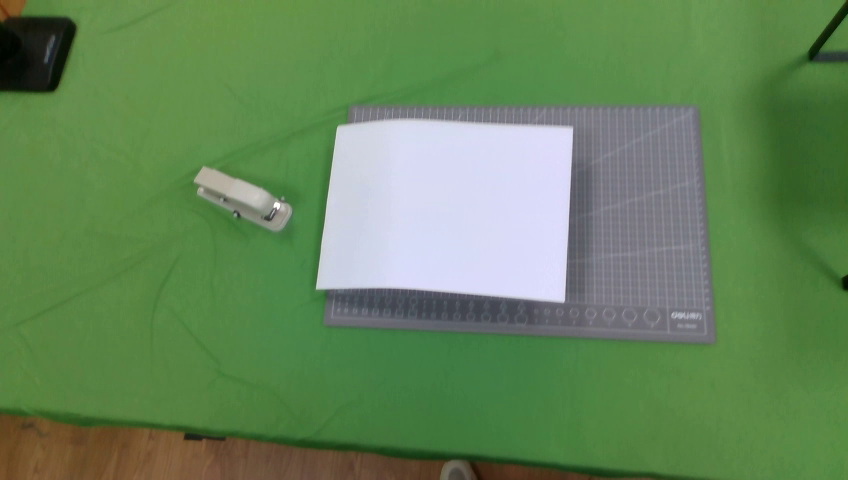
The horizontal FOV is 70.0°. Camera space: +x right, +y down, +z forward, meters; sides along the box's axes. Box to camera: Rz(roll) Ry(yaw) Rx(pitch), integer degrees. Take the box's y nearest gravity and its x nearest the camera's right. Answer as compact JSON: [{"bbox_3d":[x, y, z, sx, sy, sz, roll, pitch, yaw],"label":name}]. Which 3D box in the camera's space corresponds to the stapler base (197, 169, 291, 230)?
[{"bbox_3d":[-0.235,-0.055,0.779,0.130,0.024,0.041,24,74,14],"label":"stapler base"}]

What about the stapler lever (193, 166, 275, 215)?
[{"bbox_3d":[-0.239,-0.063,0.756,0.117,0.040,0.027,24,74,13],"label":"stapler lever"}]
